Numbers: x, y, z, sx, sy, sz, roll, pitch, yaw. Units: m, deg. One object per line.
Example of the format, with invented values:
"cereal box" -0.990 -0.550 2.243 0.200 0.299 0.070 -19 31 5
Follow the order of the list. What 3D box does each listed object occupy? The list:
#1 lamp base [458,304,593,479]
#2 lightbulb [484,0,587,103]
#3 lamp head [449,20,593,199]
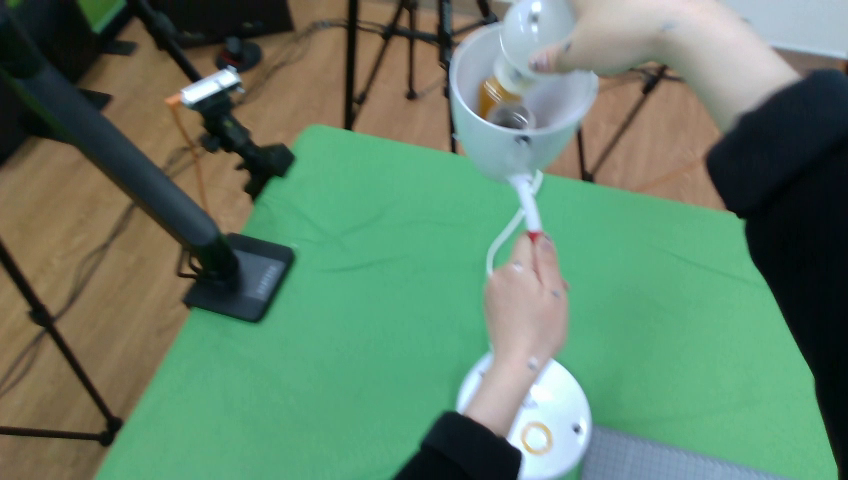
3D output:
"lamp base" 0.113 0.160 0.672 0.161 0.182 0.177 -23 57 -12
"lightbulb" 0.074 -0.135 0.441 0.060 0.108 0.059 8 67 -19
"lamp head" 0.075 -0.098 0.511 0.112 0.124 0.111 0 58 1
